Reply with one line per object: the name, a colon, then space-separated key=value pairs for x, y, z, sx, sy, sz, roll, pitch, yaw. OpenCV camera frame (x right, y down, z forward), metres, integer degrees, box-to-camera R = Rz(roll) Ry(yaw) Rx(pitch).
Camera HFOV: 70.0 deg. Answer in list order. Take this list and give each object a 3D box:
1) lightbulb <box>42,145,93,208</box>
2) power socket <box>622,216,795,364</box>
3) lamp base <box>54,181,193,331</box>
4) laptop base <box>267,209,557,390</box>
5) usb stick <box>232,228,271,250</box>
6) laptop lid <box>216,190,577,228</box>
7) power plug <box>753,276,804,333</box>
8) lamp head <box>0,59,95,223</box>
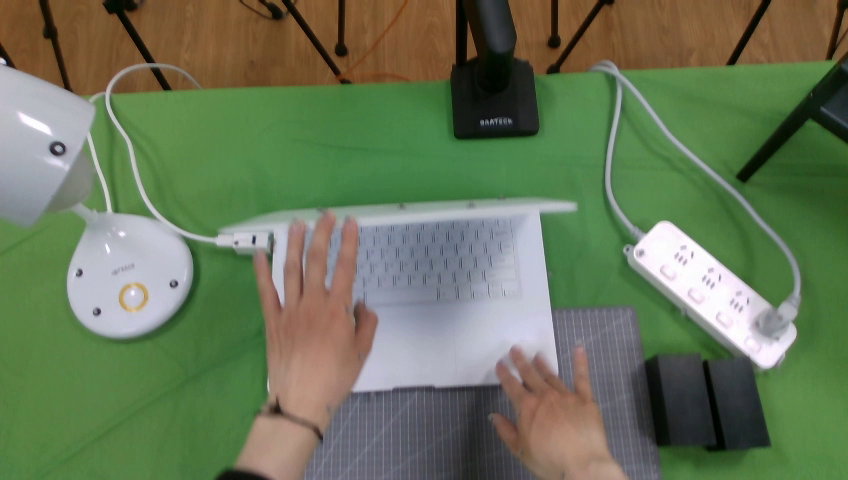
lightbulb: x=-0.307 y=-0.067 z=0.457 sx=0.059 sy=0.109 sz=0.059 roll=-26 pitch=45 yaw=29
power socket: x=0.354 y=0.060 z=0.755 sx=0.072 sy=0.033 sz=0.225 roll=-43 pitch=75 yaw=-13
lamp base: x=-0.389 y=0.003 z=0.713 sx=0.160 sy=0.181 sz=0.178 roll=-32 pitch=70 yaw=-10
laptop base: x=-0.020 y=0.063 z=0.772 sx=0.354 sy=0.023 sz=0.234 roll=-3 pitch=73 yaw=0
usb stick: x=-0.216 y=-0.002 z=0.786 sx=0.059 sy=0.027 sz=0.021 roll=2 pitch=65 yaw=-2
laptop lid: x=-0.026 y=-0.039 z=0.691 sx=0.357 sy=0.241 sz=0.013 roll=-3 pitch=97 yaw=2
power plug: x=0.426 y=0.082 z=0.722 sx=0.072 sy=0.053 sz=0.035 roll=-33 pitch=72 yaw=-11
lamp head: x=-0.327 y=-0.086 z=0.443 sx=0.124 sy=0.112 sz=0.112 roll=30 pitch=67 yaw=-33
